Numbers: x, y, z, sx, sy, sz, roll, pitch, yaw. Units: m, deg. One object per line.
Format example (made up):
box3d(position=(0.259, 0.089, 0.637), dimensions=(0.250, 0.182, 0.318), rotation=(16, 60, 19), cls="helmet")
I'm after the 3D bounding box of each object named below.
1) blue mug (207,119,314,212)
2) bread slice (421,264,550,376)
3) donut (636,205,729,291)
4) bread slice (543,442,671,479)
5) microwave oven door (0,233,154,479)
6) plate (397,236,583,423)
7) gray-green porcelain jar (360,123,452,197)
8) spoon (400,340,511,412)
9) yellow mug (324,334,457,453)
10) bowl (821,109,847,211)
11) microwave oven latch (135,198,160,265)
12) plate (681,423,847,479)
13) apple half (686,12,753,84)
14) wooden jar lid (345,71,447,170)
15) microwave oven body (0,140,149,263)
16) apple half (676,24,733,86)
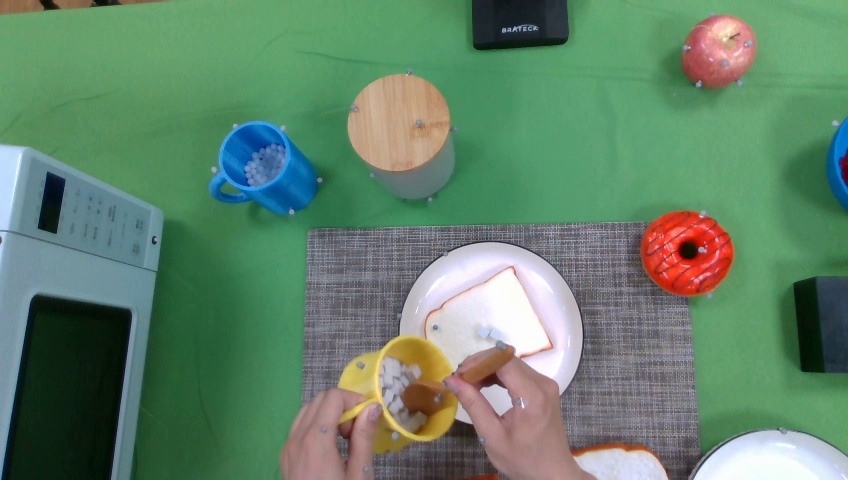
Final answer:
box3d(position=(-0.199, -0.079, 0.720), dimensions=(0.116, 0.106, 0.082), rotation=(-26, 78, 1), cls="blue mug")
box3d(position=(0.065, 0.101, 0.693), dimensions=(0.131, 0.019, 0.104), rotation=(-27, 78, 0), cls="bread slice")
box3d(position=(0.289, 0.009, 0.682), dimensions=(0.099, 0.048, 0.098), rotation=(-1, 81, 6), cls="donut")
box3d(position=(0.197, 0.268, 0.625), dimensions=(0.135, 0.018, 0.106), rotation=(-5, 75, -15), cls="bread slice")
box3d(position=(-0.369, 0.186, 0.602), dimensions=(0.039, 0.245, 0.354), rotation=(2, 80, 7), cls="microwave oven door")
box3d(position=(0.074, 0.100, 0.691), dimensions=(0.207, 0.039, 0.207), rotation=(-1, 80, 6), cls="plate")
box3d(position=(-0.022, -0.111, 0.698), dimensions=(0.106, 0.127, 0.105), rotation=(-1, 79, 6), cls="gray-green porcelain jar")
box3d(position=(0.025, 0.122, 0.529), dimensions=(0.042, 0.194, 0.021), rotation=(37, 57, -4), cls="spoon")
box3d(position=(-0.037, 0.150, 0.574), dimensions=(0.064, 0.131, 0.099), rotation=(-34, 73, 41), cls="yellow mug")
box3d(position=(0.503, -0.080, 0.662), dimensions=(0.151, 0.077, 0.151), rotation=(-1, 80, 6), cls="bowl")
box3d(position=(-0.343, -0.010, 0.739), dimensions=(0.030, 0.029, 0.079), rotation=(4, 81, 6), cls="microwave oven latch")
box3d(position=(0.364, 0.296, 0.629), dimensions=(0.209, 0.038, 0.208), rotation=(-1, 80, 6), cls="plate")
box3d(position=(0.348, -0.228, 0.708), dimensions=(0.053, 0.075, 0.080), rotation=(-32, 74, -6), cls="apple half")
box3d(position=(-0.029, -0.123, 0.637), dimensions=(0.108, 0.021, 0.108), rotation=(-1, 78, 6), cls="wooden jar lid")
box3d(position=(-0.511, 0.140, 0.630), dimensions=(0.326, 0.261, 0.440), rotation=(2, 80, 6), cls="microwave oven body")
box3d(position=(0.317, -0.206, 0.705), dimensions=(0.033, 0.081, 0.081), rotation=(-33, 78, -6), cls="apple half")
